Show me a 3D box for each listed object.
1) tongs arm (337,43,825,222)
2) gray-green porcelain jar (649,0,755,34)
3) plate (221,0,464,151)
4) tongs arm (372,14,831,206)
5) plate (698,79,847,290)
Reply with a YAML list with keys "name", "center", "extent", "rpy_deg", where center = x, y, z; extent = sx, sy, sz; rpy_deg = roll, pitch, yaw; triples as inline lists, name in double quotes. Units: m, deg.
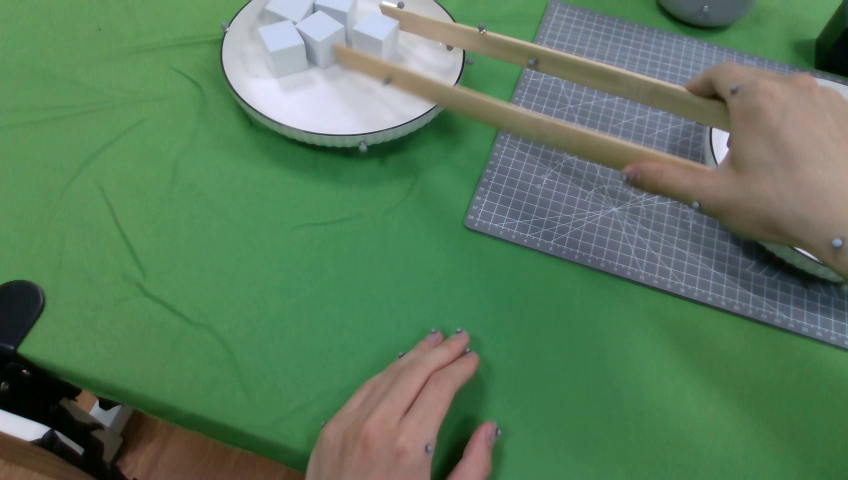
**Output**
- name: "tongs arm"
  center: [0.072, -0.091, 0.439]
  extent: [0.384, 0.028, 0.028]
  rpy_deg: [28, 60, 32]
- name: "gray-green porcelain jar"
  center: [0.286, -0.278, 0.592]
  extent: [0.106, 0.127, 0.105]
  rpy_deg: [2, 57, -2]
- name: "plate"
  center: [-0.069, -0.154, 0.538]
  extent: [0.208, 0.039, 0.205]
  rpy_deg: [2, 57, -3]
- name: "tongs arm"
  center: [0.091, -0.112, 0.449]
  extent: [0.381, 0.027, 0.050]
  rpy_deg: [25, 62, 31]
- name: "plate"
  center: [0.325, -0.046, 0.495]
  extent: [0.209, 0.038, 0.207]
  rpy_deg: [2, 57, -3]
